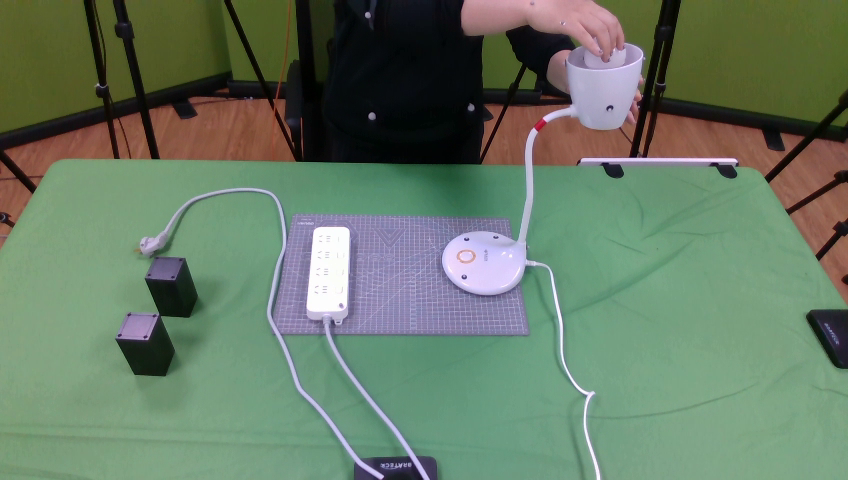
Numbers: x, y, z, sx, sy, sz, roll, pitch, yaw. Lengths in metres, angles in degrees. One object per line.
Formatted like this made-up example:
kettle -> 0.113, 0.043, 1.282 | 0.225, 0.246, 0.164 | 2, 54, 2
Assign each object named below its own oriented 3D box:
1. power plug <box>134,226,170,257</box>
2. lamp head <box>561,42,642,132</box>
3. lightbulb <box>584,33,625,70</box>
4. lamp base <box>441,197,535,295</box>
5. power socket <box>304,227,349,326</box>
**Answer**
power plug -> -0.515, 0.006, 1.153 | 0.052, 0.035, 0.072 | -6, 24, 7
lamp head -> 0.270, -0.229, 0.934 | 0.112, 0.123, 0.112 | -2, 37, 2
lightbulb -> 0.272, -0.257, 0.918 | 0.059, 0.108, 0.059 | -6, 30, 4
lamp base -> 0.130, -0.012, 1.105 | 0.179, 0.181, 0.159 | -1, 46, -9
power socket -> -0.177, 0.059, 1.115 | 0.072, 0.033, 0.225 | -1, 46, -4
